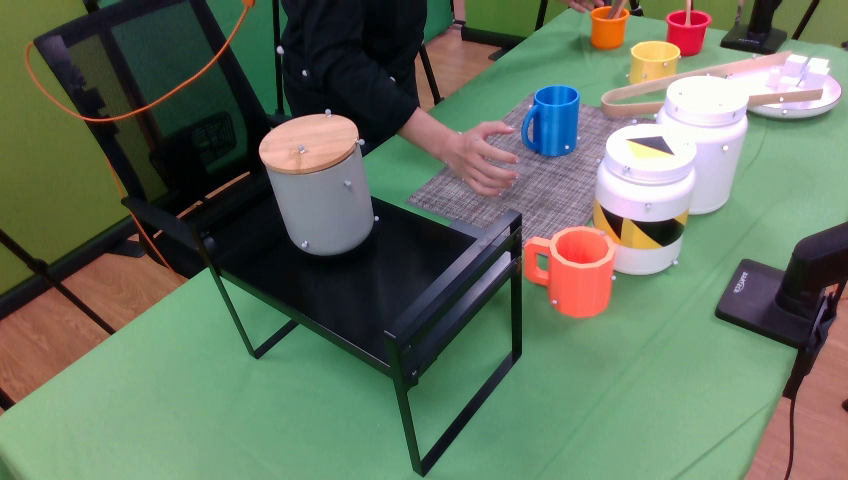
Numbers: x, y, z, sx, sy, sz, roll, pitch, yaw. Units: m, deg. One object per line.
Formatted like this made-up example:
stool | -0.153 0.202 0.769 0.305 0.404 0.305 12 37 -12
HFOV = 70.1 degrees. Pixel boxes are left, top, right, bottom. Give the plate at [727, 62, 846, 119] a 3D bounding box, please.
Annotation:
plate | 0.709 -0.292 1.197 0.207 0.039 0.206 -4 40 4

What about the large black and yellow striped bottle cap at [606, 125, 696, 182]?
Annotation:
large black and yellow striped bottle cap | 0.305 -0.119 0.816 0.115 0.019 0.114 -5 41 5

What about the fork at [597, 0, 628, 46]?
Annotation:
fork | 0.479 -0.558 1.455 0.028 0.019 0.207 36 100 38

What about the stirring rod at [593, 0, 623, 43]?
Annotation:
stirring rod | 0.460 -0.557 1.461 0.014 0.176 0.006 35 11 23

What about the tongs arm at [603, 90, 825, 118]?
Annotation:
tongs arm | 0.546 -0.262 1.162 0.386 0.028 0.028 -1 49 18

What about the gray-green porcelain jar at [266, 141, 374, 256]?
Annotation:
gray-green porcelain jar | -0.117 -0.054 0.703 0.106 0.127 0.105 -4 40 4

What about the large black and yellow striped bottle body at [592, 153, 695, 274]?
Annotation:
large black and yellow striped bottle body | 0.313 -0.056 0.872 0.131 0.185 0.130 -4 41 4

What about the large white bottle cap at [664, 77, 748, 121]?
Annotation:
large white bottle cap | 0.421 -0.212 0.905 0.115 0.018 0.114 -4 40 4

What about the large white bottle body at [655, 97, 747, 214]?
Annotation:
large white bottle body | 0.431 -0.148 0.959 0.130 0.185 0.130 -4 41 4

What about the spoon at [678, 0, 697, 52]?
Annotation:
spoon | 0.614 -0.526 1.402 0.041 0.022 0.193 3 86 11

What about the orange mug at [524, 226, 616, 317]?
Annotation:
orange mug | 0.201 0.039 0.845 0.125 0.101 0.083 18 46 22

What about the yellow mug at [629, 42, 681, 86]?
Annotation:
yellow mug | 0.495 -0.389 1.321 0.100 0.064 0.130 -14 40 -6

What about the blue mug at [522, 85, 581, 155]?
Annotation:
blue mug | 0.233 -0.218 1.127 0.117 0.106 0.081 -23 43 -16

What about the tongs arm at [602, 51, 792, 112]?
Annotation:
tongs arm | 0.552 -0.320 1.223 0.384 0.027 0.050 -10 43 7

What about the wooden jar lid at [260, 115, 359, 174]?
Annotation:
wooden jar lid | -0.124 -0.101 0.662 0.108 0.021 0.108 -4 41 4

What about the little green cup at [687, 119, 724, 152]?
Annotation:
little green cup | 0.513 -0.191 1.109 0.061 0.039 0.061 -5 40 5
